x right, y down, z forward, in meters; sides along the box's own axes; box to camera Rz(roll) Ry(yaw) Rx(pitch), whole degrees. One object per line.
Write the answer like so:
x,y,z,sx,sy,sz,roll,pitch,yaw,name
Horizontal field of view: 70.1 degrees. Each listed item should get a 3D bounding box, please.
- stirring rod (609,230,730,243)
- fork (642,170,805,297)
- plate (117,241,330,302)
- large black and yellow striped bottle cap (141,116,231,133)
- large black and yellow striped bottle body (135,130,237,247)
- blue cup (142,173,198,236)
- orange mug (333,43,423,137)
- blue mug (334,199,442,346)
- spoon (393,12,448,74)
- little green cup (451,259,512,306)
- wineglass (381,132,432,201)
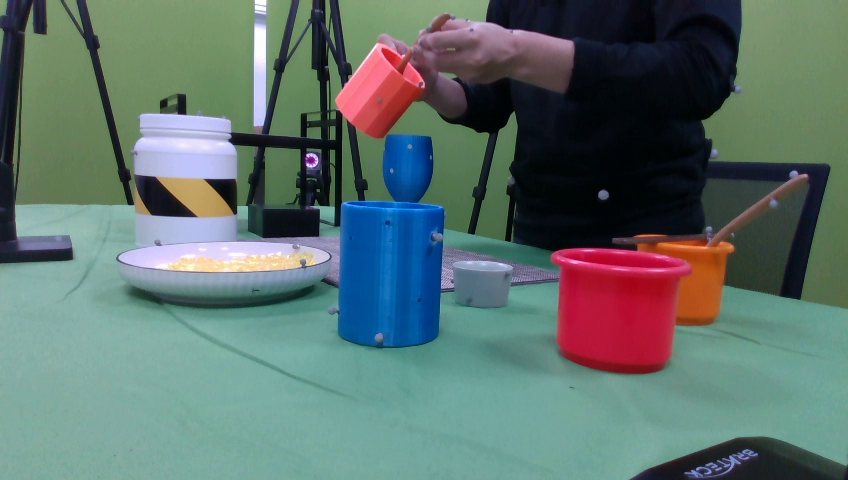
0.241,-0.004,0.582,0.177,0.006,0.014,-3,10,-33,stirring rod
0.261,0.003,0.545,0.028,0.018,0.207,6,-37,-15,fork
-0.203,0.031,0.630,0.209,0.038,0.209,3,7,0,plate
-0.324,-0.157,0.826,0.115,0.019,0.115,1,7,0,large black and yellow striped bottle cap
-0.327,-0.074,0.838,0.131,0.184,0.130,2,7,0,large black and yellow striped bottle body
-0.425,-0.060,1.014,0.093,0.100,0.092,4,9,0,blue cup
-0.062,-0.217,0.855,0.084,0.100,0.126,36,30,-18,orange mug
-0.034,0.020,0.498,0.083,0.106,0.116,0,7,-19,blue mug
-0.023,-0.239,0.790,0.042,0.021,0.193,17,-29,-24,spoon
0.057,0.043,0.611,0.061,0.038,0.061,3,8,0,little green cup
-0.026,-0.062,0.841,0.074,0.172,0.073,2,7,0,wineglass
